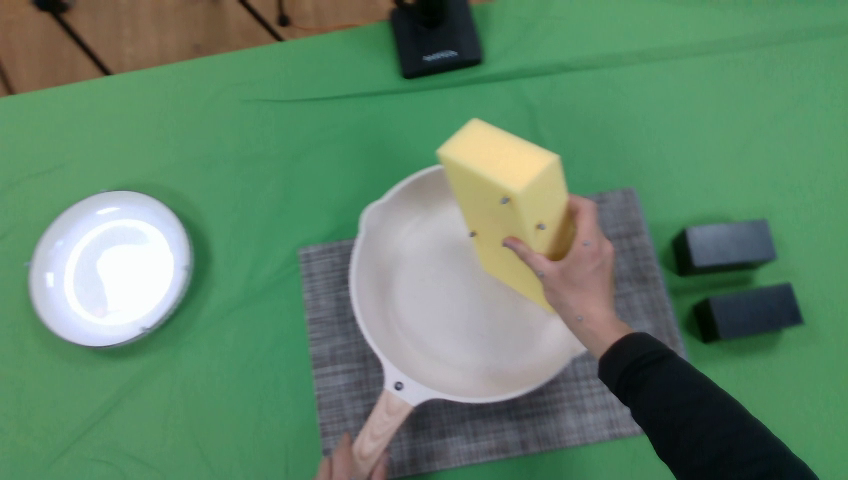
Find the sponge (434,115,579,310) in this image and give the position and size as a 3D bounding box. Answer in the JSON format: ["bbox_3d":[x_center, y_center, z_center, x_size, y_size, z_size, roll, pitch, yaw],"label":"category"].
[{"bbox_3d":[0.098,-0.025,0.673,0.061,0.209,0.117,-43,48,-16],"label":"sponge"}]

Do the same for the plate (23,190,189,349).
[{"bbox_3d":[-0.403,0.039,0.781,0.207,0.039,0.206,-1,73,2],"label":"plate"}]

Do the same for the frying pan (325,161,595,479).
[{"bbox_3d":[0.000,0.124,0.700,0.305,0.103,0.486,30,69,12],"label":"frying pan"}]
